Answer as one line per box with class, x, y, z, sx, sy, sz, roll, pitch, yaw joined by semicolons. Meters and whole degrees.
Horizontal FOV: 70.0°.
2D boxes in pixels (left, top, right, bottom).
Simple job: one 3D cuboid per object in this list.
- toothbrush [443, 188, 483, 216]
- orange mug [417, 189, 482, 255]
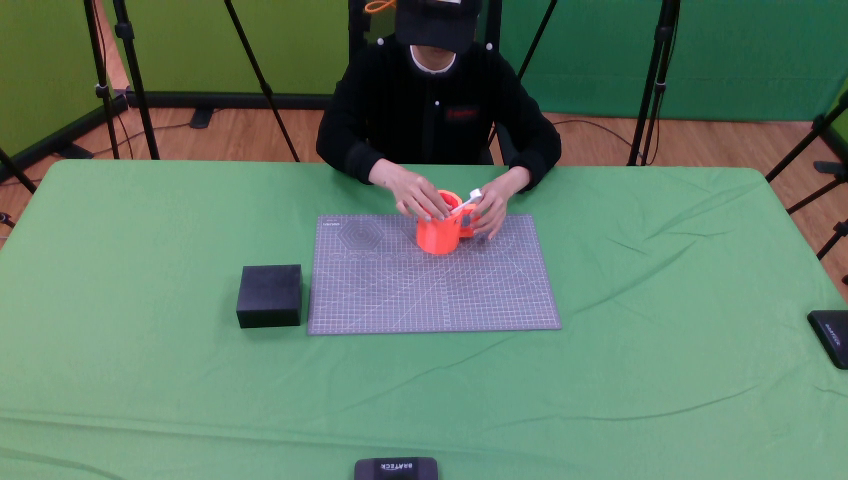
toothbrush;0.047;-0.051;1.134;0.014;0.182;0.016;-6;70;-42
orange mug;0.049;-0.037;1.176;0.126;0.101;0.083;-7;46;-4
